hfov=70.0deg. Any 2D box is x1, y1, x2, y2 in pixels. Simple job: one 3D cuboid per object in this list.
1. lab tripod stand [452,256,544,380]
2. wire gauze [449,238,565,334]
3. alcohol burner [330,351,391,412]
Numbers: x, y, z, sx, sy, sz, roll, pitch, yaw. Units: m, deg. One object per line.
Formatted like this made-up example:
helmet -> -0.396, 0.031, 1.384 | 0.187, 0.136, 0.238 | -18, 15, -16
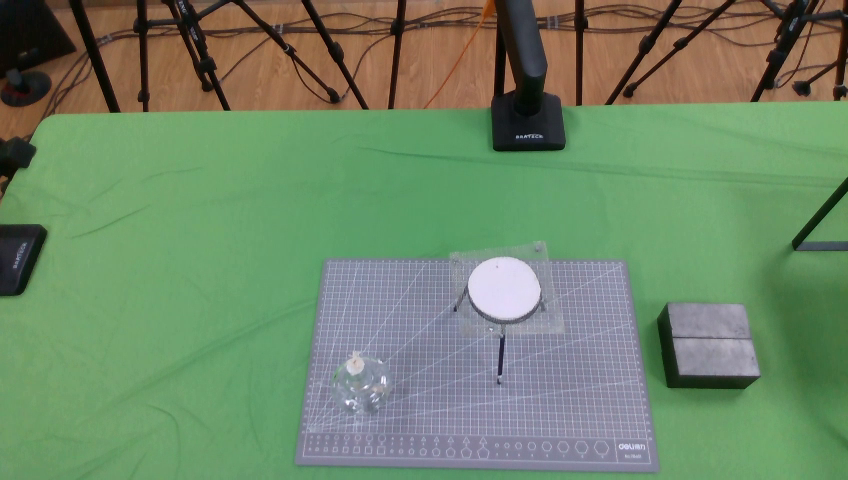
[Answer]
lab tripod stand -> 0.102, 0.088, 0.785 | 0.148, 0.132, 0.147 | -1, 57, 2
wire gauze -> 0.097, 0.055, 0.726 | 0.125, 0.011, 0.120 | -4, 59, -1
alcohol burner -> -0.081, 0.170, 0.755 | 0.078, 0.120, 0.077 | -1, 57, 2
